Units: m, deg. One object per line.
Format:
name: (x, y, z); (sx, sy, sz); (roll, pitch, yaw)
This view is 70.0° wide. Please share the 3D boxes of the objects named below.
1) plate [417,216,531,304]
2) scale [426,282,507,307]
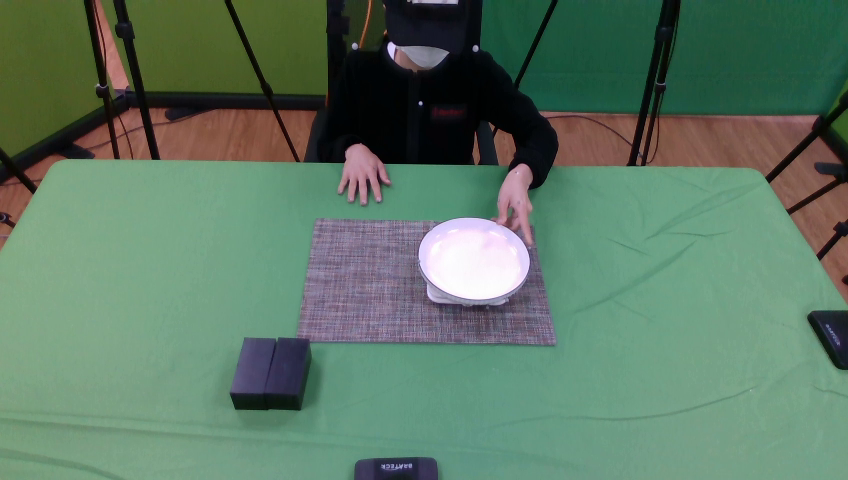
plate: (0.089, 0.039, 1.110); (0.208, 0.039, 0.206); (2, 46, -1)
scale: (0.078, 0.043, 1.152); (0.149, 0.032, 0.199); (3, 45, -2)
